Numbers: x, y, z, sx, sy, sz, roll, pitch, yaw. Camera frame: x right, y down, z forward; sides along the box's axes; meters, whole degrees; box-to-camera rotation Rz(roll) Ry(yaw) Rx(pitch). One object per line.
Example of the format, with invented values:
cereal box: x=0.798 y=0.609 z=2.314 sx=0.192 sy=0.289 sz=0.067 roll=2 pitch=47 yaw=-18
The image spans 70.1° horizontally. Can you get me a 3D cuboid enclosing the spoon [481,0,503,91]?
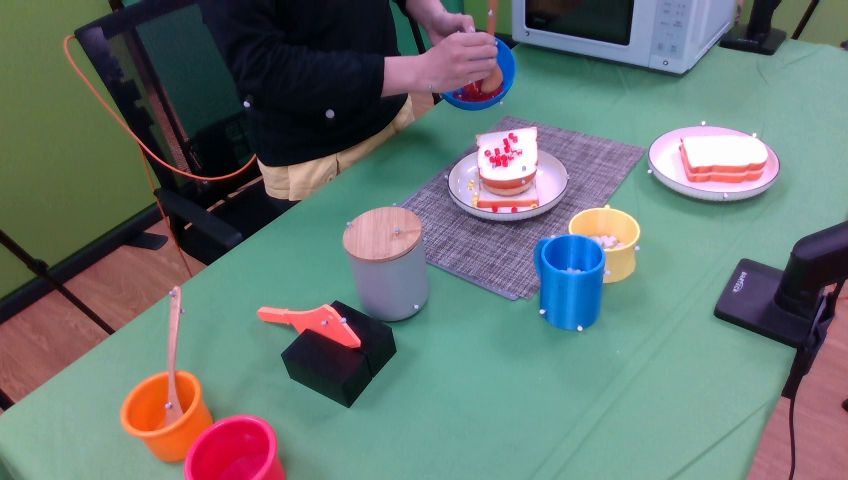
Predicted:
spoon: x=0.107 y=-0.307 z=0.951 sx=0.042 sy=0.194 sz=0.021 roll=-23 pitch=56 yaw=-9

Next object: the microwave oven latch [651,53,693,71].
microwave oven latch: x=0.532 y=-0.387 z=1.301 sx=0.078 sy=0.029 sz=0.030 roll=27 pitch=52 yaw=34

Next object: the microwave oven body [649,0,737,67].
microwave oven body: x=0.475 y=-0.602 z=1.411 sx=0.438 sy=0.261 sz=0.327 roll=23 pitch=50 yaw=32

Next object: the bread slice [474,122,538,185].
bread slice: x=0.141 y=-0.144 z=1.008 sx=0.107 sy=0.018 sz=0.133 roll=-8 pitch=48 yaw=8

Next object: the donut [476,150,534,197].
donut: x=0.138 y=-0.116 z=1.025 sx=0.099 sy=0.048 sz=0.098 roll=-8 pitch=55 yaw=13

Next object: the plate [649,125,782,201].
plate: x=0.493 y=-0.128 z=1.036 sx=0.207 sy=0.039 sz=0.206 roll=-4 pitch=41 yaw=4

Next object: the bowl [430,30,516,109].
bowl: x=0.087 y=-0.291 z=1.090 sx=0.151 sy=0.077 sz=0.151 roll=-1 pitch=69 yaw=2

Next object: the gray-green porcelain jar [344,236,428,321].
gray-green porcelain jar: x=-0.049 y=0.042 z=0.849 sx=0.106 sy=0.127 sz=0.105 roll=-4 pitch=41 yaw=4

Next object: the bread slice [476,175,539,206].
bread slice: x=0.143 y=-0.105 z=1.057 sx=0.105 sy=0.019 sz=0.131 roll=0 pitch=42 yaw=6

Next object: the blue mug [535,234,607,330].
blue mug: x=0.191 y=0.048 z=0.824 sx=0.082 sy=0.106 sz=0.115 roll=-26 pitch=44 yaw=-21

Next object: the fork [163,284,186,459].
fork: x=-0.302 y=0.157 z=0.733 sx=0.028 sy=0.019 sz=0.207 roll=-3 pitch=84 yaw=15

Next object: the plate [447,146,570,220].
plate: x=0.145 y=-0.098 z=1.046 sx=0.209 sy=0.038 sz=0.208 roll=-4 pitch=41 yaw=4

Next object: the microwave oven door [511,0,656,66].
microwave oven door: x=0.351 y=-0.539 z=1.349 sx=0.353 sy=0.245 sz=0.039 roll=24 pitch=50 yaw=31

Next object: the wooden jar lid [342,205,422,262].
wooden jar lid: x=-0.055 y=-0.006 z=0.808 sx=0.108 sy=0.021 sz=0.108 roll=-6 pitch=40 yaw=6

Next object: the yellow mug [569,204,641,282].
yellow mug: x=0.268 y=-0.005 z=0.904 sx=0.099 sy=0.064 sz=0.130 roll=7 pitch=41 yaw=15

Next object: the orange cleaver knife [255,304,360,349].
orange cleaver knife: x=-0.161 y=0.115 z=0.813 sx=0.210 sy=0.077 sz=0.012 roll=-4 pitch=32 yaw=47
